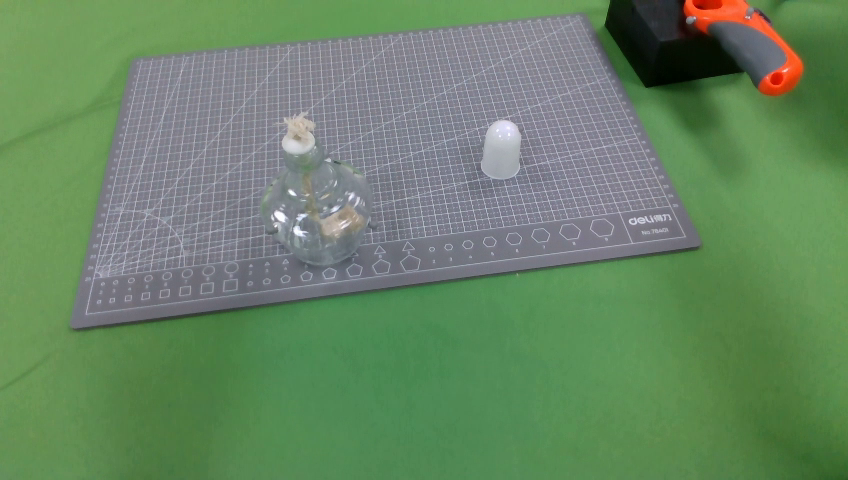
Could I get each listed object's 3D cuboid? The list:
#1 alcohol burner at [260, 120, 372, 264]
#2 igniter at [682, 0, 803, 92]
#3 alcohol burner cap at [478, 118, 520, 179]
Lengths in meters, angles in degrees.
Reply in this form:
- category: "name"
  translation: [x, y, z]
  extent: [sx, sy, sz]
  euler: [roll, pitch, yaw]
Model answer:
- category: "alcohol burner"
  translation: [-0.076, -0.037, 0.409]
  extent: [0.078, 0.120, 0.077]
  euler: [-1, 56, 2]
- category: "igniter"
  translation: [0.246, -0.220, 0.534]
  extent: [0.057, 0.025, 0.273]
  euler: [-12, 52, -4]
- category: "alcohol burner cap"
  translation: [0.061, -0.075, 0.479]
  extent: [0.034, 0.048, 0.033]
  euler: [0, 53, 0]
